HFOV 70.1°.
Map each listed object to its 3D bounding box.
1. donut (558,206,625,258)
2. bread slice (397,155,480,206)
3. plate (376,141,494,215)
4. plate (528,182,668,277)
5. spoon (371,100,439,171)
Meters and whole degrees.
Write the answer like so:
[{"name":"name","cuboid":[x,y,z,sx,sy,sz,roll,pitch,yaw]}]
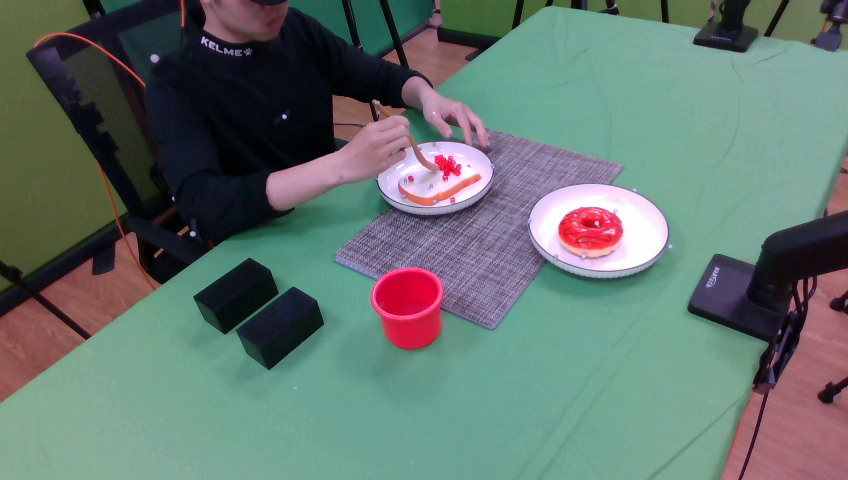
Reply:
[{"name":"donut","cuboid":[0.254,-0.015,0.917,0.099,0.048,0.098,-5,41,5]},{"name":"bread slice","cuboid":[0.021,-0.106,1.077,0.132,0.019,0.104,-31,46,-29]},{"name":"plate","cuboid":[0.021,-0.106,1.072,0.209,0.038,0.208,-4,40,4]},{"name":"plate","cuboid":[0.264,-0.014,0.933,0.207,0.039,0.206,-3,42,3]},{"name":"spoon","cuboid":[-0.029,-0.172,1.008,0.021,0.195,0.041,-43,45,0]}]
